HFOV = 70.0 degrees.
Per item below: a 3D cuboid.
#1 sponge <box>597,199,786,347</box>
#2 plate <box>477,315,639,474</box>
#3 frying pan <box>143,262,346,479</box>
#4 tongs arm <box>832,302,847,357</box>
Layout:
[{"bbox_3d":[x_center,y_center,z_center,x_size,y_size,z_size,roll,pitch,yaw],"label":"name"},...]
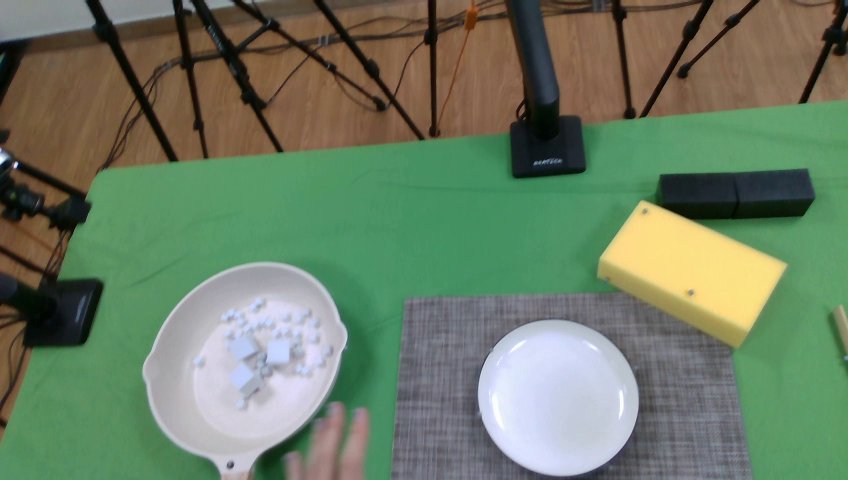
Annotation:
[{"bbox_3d":[0.363,0.041,0.839,0.205,0.061,0.118,29,69,26],"label":"sponge"},{"bbox_3d":[0.174,0.203,0.802,0.207,0.039,0.206,-5,61,10],"label":"plate"},{"bbox_3d":[-0.248,0.257,0.828,0.306,0.104,0.483,-9,52,8],"label":"frying pan"},{"bbox_3d":[0.555,0.252,0.705,0.028,0.028,0.384,-7,61,6],"label":"tongs arm"}]
